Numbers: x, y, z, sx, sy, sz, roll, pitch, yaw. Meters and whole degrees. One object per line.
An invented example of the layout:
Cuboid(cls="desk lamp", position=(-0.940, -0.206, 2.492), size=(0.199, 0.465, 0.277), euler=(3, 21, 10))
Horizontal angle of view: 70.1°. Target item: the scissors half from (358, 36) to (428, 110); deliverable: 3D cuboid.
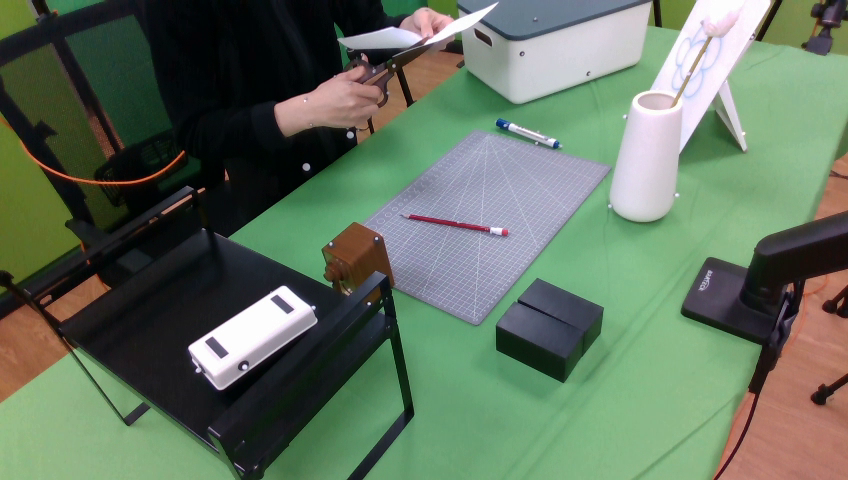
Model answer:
Cuboid(cls="scissors half", position=(-0.046, -0.250, 0.912), size=(0.040, 0.174, 0.013), euler=(43, 45, -9))

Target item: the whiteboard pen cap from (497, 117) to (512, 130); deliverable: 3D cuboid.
Cuboid(cls="whiteboard pen cap", position=(0.165, -0.235, 1.227), size=(0.033, 0.018, 0.018), euler=(31, 53, 30))

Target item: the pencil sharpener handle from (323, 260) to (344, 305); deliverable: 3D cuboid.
Cuboid(cls="pencil sharpener handle", position=(-0.131, 0.062, 0.839), size=(0.035, 0.068, 0.031), euler=(29, 55, 28))

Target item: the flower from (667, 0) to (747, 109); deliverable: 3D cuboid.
Cuboid(cls="flower", position=(0.354, -0.187, 0.879), size=(0.038, 0.362, 0.044), euler=(30, 48, 14))

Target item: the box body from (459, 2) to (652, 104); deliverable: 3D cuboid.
Cuboid(cls="box body", position=(0.291, -0.465, 1.371), size=(0.365, 0.161, 0.252), euler=(-22, 42, -16))

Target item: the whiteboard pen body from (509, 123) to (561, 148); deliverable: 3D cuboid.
Cuboid(cls="whiteboard pen body", position=(0.208, -0.211, 1.195), size=(0.139, 0.017, 0.017), euler=(30, 52, 33))

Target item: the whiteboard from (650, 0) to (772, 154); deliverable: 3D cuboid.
Cuboid(cls="whiteboard", position=(0.543, -0.298, 1.076), size=(0.144, 0.305, 0.216), euler=(12, 40, -7))

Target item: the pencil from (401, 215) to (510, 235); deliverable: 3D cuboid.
Cuboid(cls="pencil", position=(0.049, -0.027, 1.007), size=(0.193, 0.012, 0.012), euler=(10, 43, 21))

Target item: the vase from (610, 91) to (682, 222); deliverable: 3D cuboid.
Cuboid(cls="vase", position=(0.348, -0.125, 0.935), size=(0.098, 0.201, 0.097), euler=(-3, 40, 3))

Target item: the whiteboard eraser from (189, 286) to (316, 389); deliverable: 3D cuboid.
Cuboid(cls="whiteboard eraser", position=(-0.166, 0.096, 0.593), size=(0.113, 0.042, 0.055), euler=(-36, 47, -29))

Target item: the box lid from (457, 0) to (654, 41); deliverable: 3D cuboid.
Cuboid(cls="box lid", position=(0.285, -0.522, 1.323), size=(0.373, 0.015, 0.261), euler=(-22, 43, -16))

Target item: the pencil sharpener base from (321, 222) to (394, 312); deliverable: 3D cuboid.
Cuboid(cls="pencil sharpener base", position=(-0.096, 0.041, 0.873), size=(0.061, 0.107, 0.077), euler=(25, 54, 32))

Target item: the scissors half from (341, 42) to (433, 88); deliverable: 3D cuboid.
Cuboid(cls="scissors half", position=(-0.059, -0.266, 0.905), size=(0.174, 0.040, 0.013), euler=(-9, 36, 33))
